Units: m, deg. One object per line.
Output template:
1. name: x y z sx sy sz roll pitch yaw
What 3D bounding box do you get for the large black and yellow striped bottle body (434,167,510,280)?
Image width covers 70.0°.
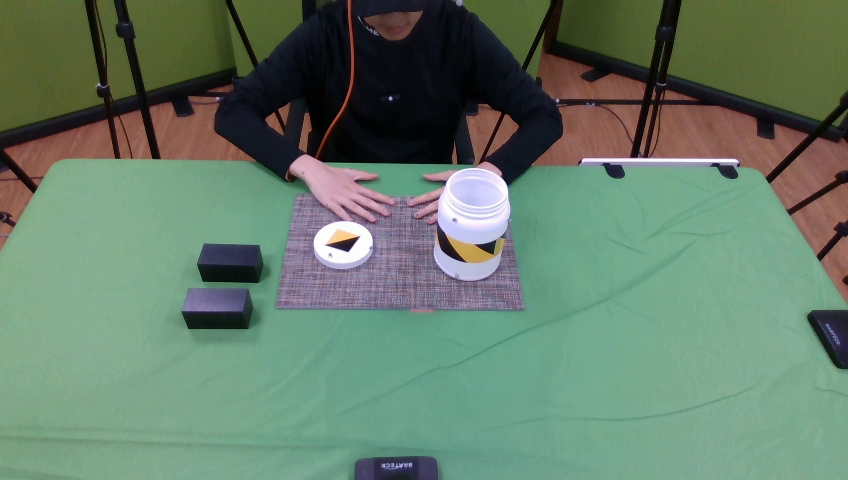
1. large black and yellow striped bottle body: 0.087 -0.031 1.114 0.131 0.185 0.130 2 46 -2

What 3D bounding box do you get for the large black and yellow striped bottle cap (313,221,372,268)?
1. large black and yellow striped bottle cap: -0.158 0.007 1.176 0.115 0.019 0.114 2 45 -2
